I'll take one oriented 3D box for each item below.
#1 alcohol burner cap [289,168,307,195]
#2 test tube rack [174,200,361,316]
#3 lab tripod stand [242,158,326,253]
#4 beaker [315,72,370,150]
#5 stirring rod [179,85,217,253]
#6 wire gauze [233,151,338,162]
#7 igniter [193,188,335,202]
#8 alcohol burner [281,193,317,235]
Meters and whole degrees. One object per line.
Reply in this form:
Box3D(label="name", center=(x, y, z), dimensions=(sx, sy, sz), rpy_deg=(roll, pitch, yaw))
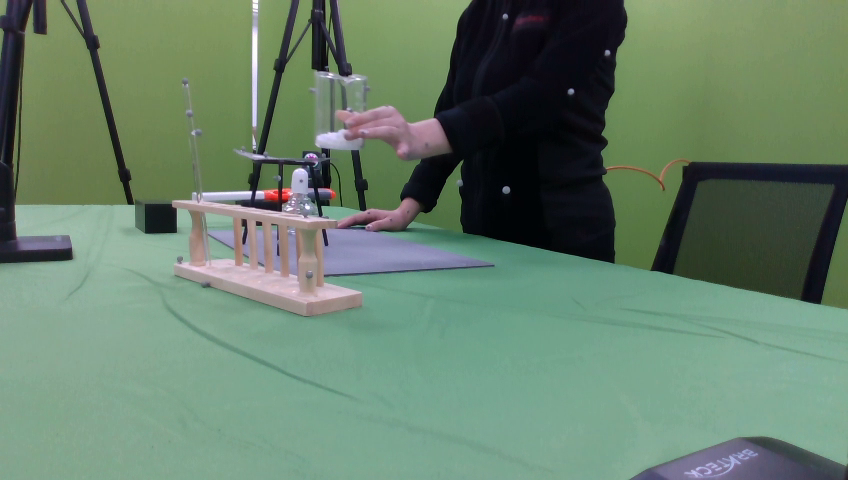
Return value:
Box3D(label="alcohol burner cap", center=(-0.224, -0.105, 1.081), dimensions=(0.034, 0.048, 0.034), rpy_deg=(3, 3, 0))
Box3D(label="test tube rack", center=(-0.169, 0.009, 0.622), dimensions=(0.241, 0.085, 0.067), rpy_deg=(9, 9, 41))
Box3D(label="lab tripod stand", center=(-0.207, -0.054, 0.895), dimensions=(0.148, 0.131, 0.148), rpy_deg=(3, 5, 0))
Box3D(label="beaker", center=(-0.112, -0.176, 0.831), dimensions=(0.074, 0.100, 0.083), rpy_deg=(0, 12, -18))
Box3D(label="stirring rod", center=(-0.236, -0.073, 0.634), dimensions=(0.006, 0.176, 0.014), rpy_deg=(0, 10, 42))
Box3D(label="wire gauze", center=(-0.205, -0.120, 0.887), dimensions=(0.122, 0.011, 0.124), rpy_deg=(0, 7, -32))
Box3D(label="igniter", center=(-0.312, -0.089, 1.209), dimensions=(0.278, 0.025, 0.057), rpy_deg=(-5, 13, -31))
Box3D(label="alcohol burner", center=(-0.225, -0.069, 1.086), dimensions=(0.078, 0.119, 0.078), rpy_deg=(2, 6, 0))
